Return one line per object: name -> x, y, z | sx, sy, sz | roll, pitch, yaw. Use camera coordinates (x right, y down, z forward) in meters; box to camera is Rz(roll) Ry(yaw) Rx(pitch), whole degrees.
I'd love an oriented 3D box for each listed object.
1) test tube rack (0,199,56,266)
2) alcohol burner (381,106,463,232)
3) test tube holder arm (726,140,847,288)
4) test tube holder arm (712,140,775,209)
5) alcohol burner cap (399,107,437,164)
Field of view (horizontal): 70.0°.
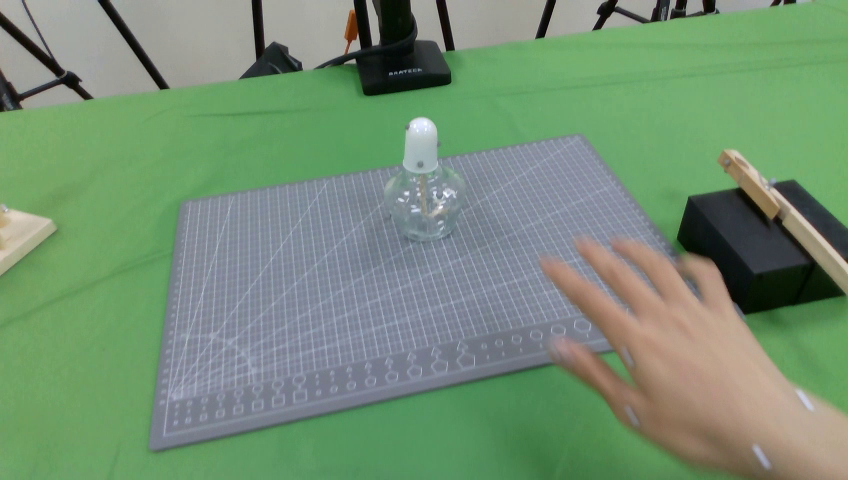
test tube rack -> -0.454, 0.020, 0.522 | 0.066, 0.086, 0.241 | 13, 45, 18
alcohol burner -> -0.003, -0.067, 0.556 | 0.078, 0.120, 0.077 | -3, 41, 3
test tube holder arm -> 0.292, -0.029, 0.494 | 0.013, 0.015, 0.176 | -4, 43, -12
test tube holder arm -> 0.278, -0.058, 0.525 | 0.010, 0.015, 0.087 | -4, 43, -11
alcohol burner cap -> -0.005, -0.093, 0.531 | 0.034, 0.048, 0.033 | 2, 41, -1
